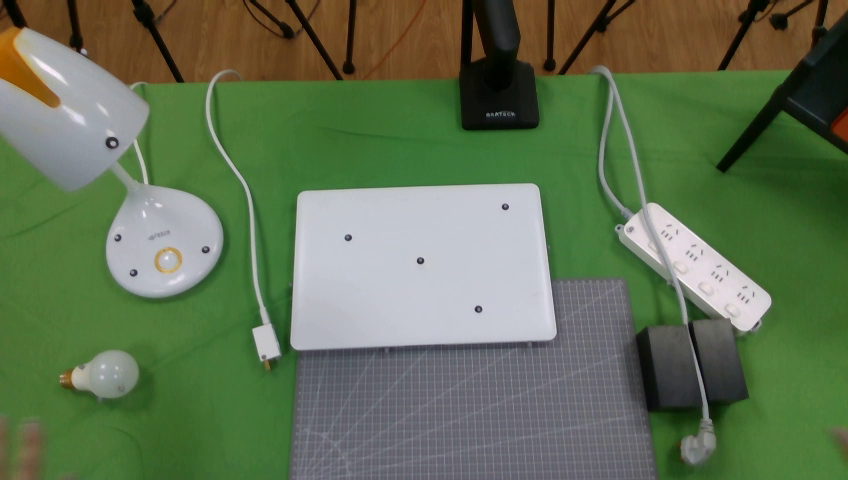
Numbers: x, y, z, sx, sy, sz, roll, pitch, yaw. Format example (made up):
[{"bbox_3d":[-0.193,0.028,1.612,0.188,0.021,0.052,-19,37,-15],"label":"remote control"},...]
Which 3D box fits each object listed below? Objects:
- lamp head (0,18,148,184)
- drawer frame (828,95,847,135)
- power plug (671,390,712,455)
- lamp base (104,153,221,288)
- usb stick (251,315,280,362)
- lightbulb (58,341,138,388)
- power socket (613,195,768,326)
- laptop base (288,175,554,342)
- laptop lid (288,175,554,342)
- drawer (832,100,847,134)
[{"bbox_3d":[-0.326,-0.128,0.524,0.112,0.124,0.111,-24,41,23],"label":"lamp head"},{"bbox_3d":[0.619,-0.159,0.690,0.200,0.083,0.213,42,73,16],"label":"drawer frame"},{"bbox_3d":[0.330,0.227,0.745,0.035,0.052,0.072,31,61,-14],"label":"power plug"},{"bbox_3d":[-0.374,-0.047,0.784,0.160,0.181,0.177,-31,68,-12],"label":"lamp base"},{"bbox_3d":[-0.207,0.130,0.795,0.027,0.021,0.059,-14,78,-8],"label":"usb stick"},{"bbox_3d":[-0.417,0.160,0.769,0.107,0.060,0.059,-9,66,13],"label":"lightbulb"},{"bbox_3d":[0.367,0.026,0.835,0.072,0.033,0.225,-41,73,-16],"label":"power socket"},{"bbox_3d":[-0.007,0.022,0.845,0.354,0.023,0.234,-2,70,-1],"label":"laptop base"},{"bbox_3d":[-0.007,0.019,0.834,0.357,0.013,0.240,-1,69,0],"label":"laptop lid"},{"bbox_3d":[0.619,-0.156,0.690,0.211,0.074,0.193,-42,73,-16],"label":"drawer"}]
